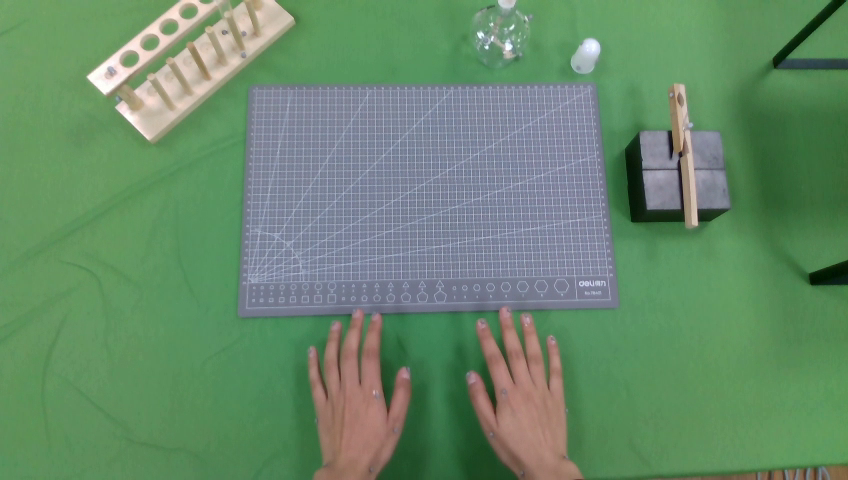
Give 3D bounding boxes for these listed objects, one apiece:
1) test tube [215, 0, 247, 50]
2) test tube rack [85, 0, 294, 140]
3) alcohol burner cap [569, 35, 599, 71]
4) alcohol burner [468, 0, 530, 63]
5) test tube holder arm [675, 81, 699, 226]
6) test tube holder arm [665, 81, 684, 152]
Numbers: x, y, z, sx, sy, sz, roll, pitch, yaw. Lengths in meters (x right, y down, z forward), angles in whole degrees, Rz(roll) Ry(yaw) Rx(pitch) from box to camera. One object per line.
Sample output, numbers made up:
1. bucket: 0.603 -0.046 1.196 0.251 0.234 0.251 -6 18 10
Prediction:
1. test tube: -0.231 -0.271 0.703 0.017 0.151 0.017 1 73 -2
2. test tube rack: -0.276 -0.240 0.740 0.066 0.085 0.242 43 78 9
3. alcohol burner cap: 0.210 -0.245 0.785 0.034 0.048 0.033 1 75 -2
4. alcohol burner: 0.096 -0.274 0.751 0.078 0.119 0.077 1 74 -3
5. test tube holder arm: 0.308 -0.104 0.717 0.013 0.015 0.177 0 77 -10
6. test tube holder arm: 0.301 -0.148 0.726 0.010 0.015 0.087 1 77 -10
